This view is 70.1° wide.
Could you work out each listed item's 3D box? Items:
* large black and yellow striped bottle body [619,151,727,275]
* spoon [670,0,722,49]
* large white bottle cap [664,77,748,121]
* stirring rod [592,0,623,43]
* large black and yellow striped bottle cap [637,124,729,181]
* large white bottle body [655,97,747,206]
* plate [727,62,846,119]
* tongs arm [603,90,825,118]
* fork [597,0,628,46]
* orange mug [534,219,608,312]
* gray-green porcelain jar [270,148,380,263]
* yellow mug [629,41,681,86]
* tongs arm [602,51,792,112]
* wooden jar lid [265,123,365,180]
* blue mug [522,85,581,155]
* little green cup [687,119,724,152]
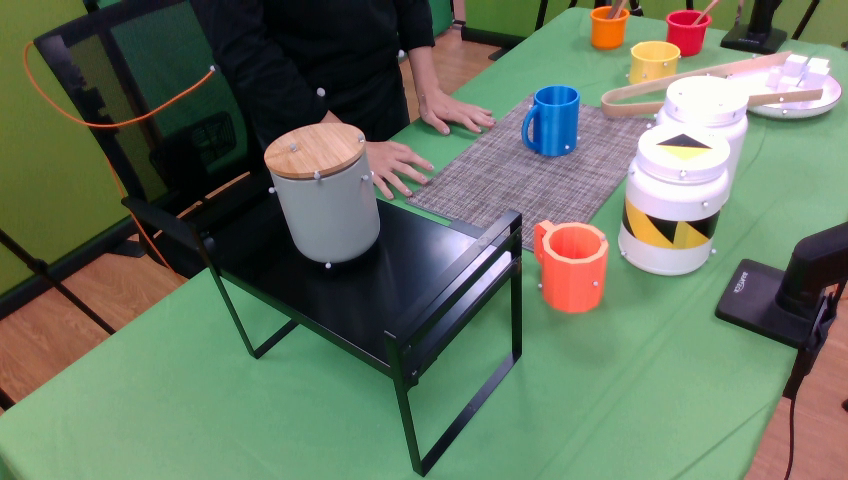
[{"bbox_3d":[0.354,-0.056,0.865,0.131,0.185,0.130,-4,41,4],"label":"large black and yellow striped bottle body"},{"bbox_3d":[0.639,-0.510,1.380,0.193,0.022,0.041,-49,40,19],"label":"spoon"},{"bbox_3d":[0.421,-0.212,0.905,0.115,0.018,0.114,-4,40,4],"label":"large white bottle cap"},{"bbox_3d":[0.460,-0.557,1.461,0.014,0.176,0.006,35,11,22],"label":"stirring rod"},{"bbox_3d":[0.346,-0.119,0.810,0.115,0.019,0.114,-5,41,5],"label":"large black and yellow striped bottle cap"},{"bbox_3d":[0.430,-0.148,0.959,0.130,0.185,0.130,-4,41,4],"label":"large white bottle body"},{"bbox_3d":[0.709,-0.292,1.197,0.207,0.039,0.206,-4,40,4],"label":"plate"},{"bbox_3d":[0.546,-0.262,1.163,0.386,0.028,0.028,-1,49,18],"label":"tongs arm"},{"bbox_3d":[0.479,-0.558,1.455,0.028,0.019,0.207,35,100,38],"label":"fork"},{"bbox_3d":[0.200,0.027,0.858,0.084,0.101,0.125,-24,47,-18],"label":"orange mug"},{"bbox_3d":[-0.109,-0.045,0.692,0.106,0.127,0.105,-4,40,4],"label":"gray-green porcelain jar"},{"bbox_3d":[0.495,-0.389,1.321,0.100,0.064,0.130,-14,40,-6],"label":"yellow mug"},{"bbox_3d":[0.552,-0.320,1.224,0.384,0.027,0.050,-10,43,7],"label":"tongs arm"},{"bbox_3d":[-0.115,-0.092,0.651,0.108,0.021,0.108,-4,38,4],"label":"wooden jar lid"},{"bbox_3d":[0.233,-0.218,1.127,0.117,0.106,0.081,-23,43,-16],"label":"blue mug"},{"bbox_3d":[0.514,-0.191,1.109,0.061,0.039,0.061,-5,40,5],"label":"little green cup"}]
